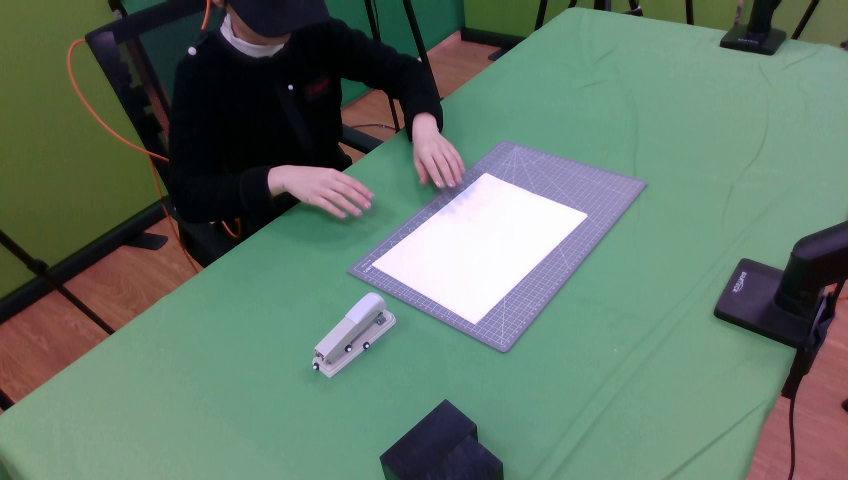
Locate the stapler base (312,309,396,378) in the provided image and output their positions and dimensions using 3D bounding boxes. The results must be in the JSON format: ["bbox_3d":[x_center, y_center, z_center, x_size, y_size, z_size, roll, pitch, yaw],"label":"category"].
[{"bbox_3d":[-0.096,0.133,0.831,0.041,0.024,0.131,26,51,36],"label":"stapler base"}]

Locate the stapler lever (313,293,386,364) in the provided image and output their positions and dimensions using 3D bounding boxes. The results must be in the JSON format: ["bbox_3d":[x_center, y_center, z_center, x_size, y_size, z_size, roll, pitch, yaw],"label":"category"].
[{"bbox_3d":[-0.099,0.116,0.814,0.026,0.040,0.118,26,51,36],"label":"stapler lever"}]
